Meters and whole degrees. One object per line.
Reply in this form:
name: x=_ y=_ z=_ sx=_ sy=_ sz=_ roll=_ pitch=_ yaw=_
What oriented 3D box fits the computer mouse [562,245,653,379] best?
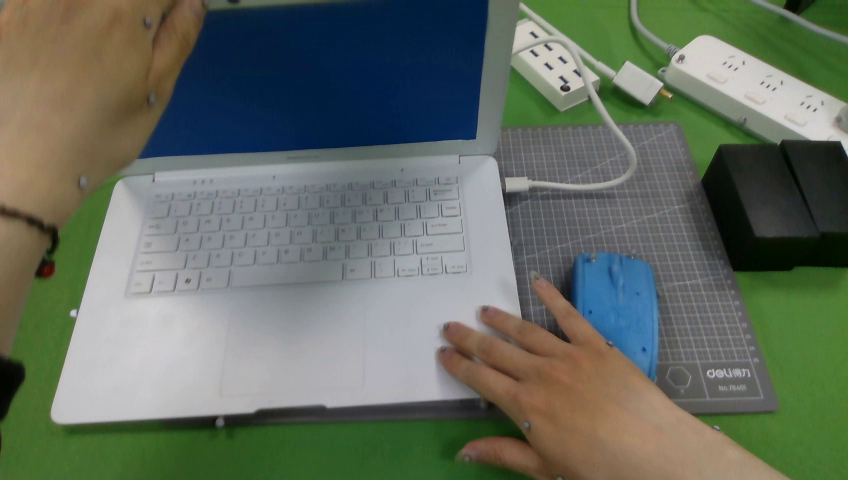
computer mouse: x=0.142 y=0.050 z=0.465 sx=0.062 sy=0.041 sz=0.116 roll=9 pitch=52 yaw=10

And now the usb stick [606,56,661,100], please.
usb stick: x=0.218 y=-0.163 z=0.617 sx=0.059 sy=0.027 sz=0.021 roll=29 pitch=16 yaw=2

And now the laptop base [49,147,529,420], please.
laptop base: x=-0.104 y=0.025 z=0.505 sx=0.354 sy=0.023 sz=0.233 roll=-4 pitch=59 yaw=-1

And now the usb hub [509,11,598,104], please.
usb hub: x=0.125 y=-0.197 z=0.646 sx=0.049 sy=0.025 sz=0.124 roll=-27 pitch=59 yaw=-16

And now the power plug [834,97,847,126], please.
power plug: x=0.412 y=-0.127 z=0.558 sx=0.072 sy=0.053 sz=0.035 roll=-30 pitch=58 yaw=-16

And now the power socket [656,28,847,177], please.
power socket: x=0.341 y=-0.141 z=0.597 sx=0.072 sy=0.033 sz=0.225 roll=-38 pitch=62 yaw=-23

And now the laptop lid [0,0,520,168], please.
laptop lid: x=-0.113 y=-0.117 z=0.457 sx=0.357 sy=0.243 sz=0.013 roll=-4 pitch=71 yaw=1
